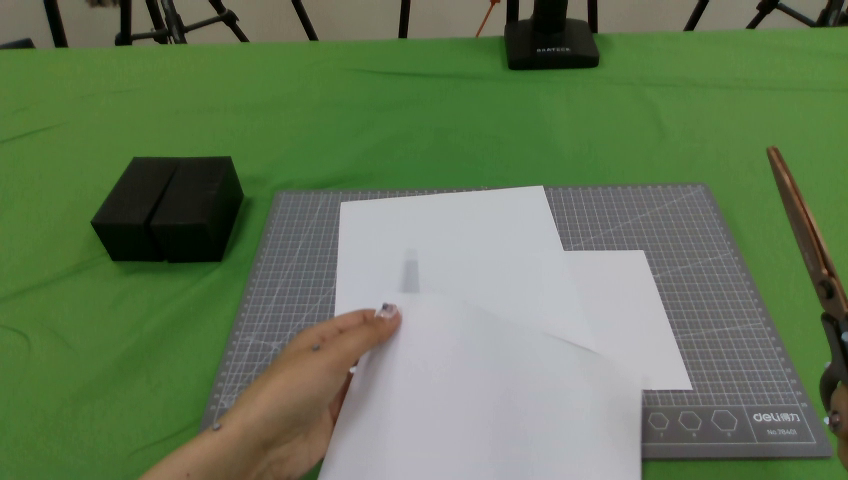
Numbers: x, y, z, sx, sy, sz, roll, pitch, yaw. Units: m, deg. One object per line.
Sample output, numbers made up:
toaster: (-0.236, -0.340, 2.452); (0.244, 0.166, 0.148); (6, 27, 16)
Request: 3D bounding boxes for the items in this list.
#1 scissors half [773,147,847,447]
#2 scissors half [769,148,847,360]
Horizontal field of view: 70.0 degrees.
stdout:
scissors half: (0.202, 0.036, 0.304); (0.013, 0.175, 0.040); (-18, 3, 4)
scissors half: (0.201, 0.035, 0.284); (0.013, 0.040, 0.174); (-18, 76, -2)
